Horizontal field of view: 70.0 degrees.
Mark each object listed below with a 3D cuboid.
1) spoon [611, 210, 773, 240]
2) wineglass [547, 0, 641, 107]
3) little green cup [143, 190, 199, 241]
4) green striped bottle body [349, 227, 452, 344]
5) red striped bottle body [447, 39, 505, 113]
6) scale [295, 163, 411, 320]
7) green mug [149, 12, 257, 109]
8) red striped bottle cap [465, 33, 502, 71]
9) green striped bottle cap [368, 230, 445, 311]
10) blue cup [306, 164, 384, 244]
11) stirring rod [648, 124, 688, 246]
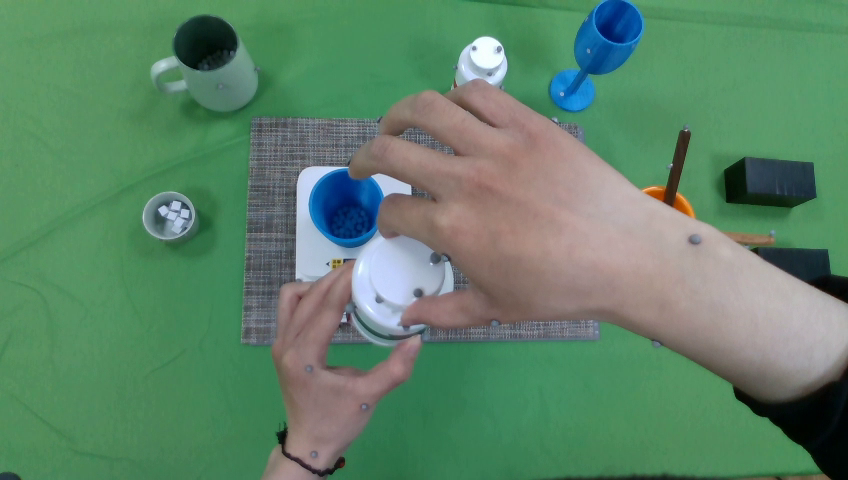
[{"bbox_3d":[0.329,-0.014,0.760,0.022,0.192,0.041,20,81,-45],"label":"spoon"},{"bbox_3d":[0.215,-0.239,0.784,0.074,0.173,0.073,1,77,-4],"label":"wineglass"},{"bbox_3d":[-0.313,-0.028,0.758,0.061,0.039,0.061,2,77,-6],"label":"little green cup"},{"bbox_3d":[-0.018,0.031,0.400,0.063,0.119,0.063,2,74,-7],"label":"green striped bottle body"},{"bbox_3d":[0.068,-0.219,0.794,0.063,0.120,0.062,1,77,-5],"label":"red striped bottle body"},{"bbox_3d":[-0.090,-0.001,0.773,0.149,0.031,0.200,-1,78,-5],"label":"scale"},{"bbox_3d":[-0.282,-0.219,0.768,0.125,0.105,0.092,-22,81,-9],"label":"green mug"},{"bbox_3d":[0.073,-0.230,0.741,0.044,0.018,0.044,1,75,-4],"label":"red striped bottle cap"},{"bbox_3d":[-0.010,0.017,0.347,0.044,0.020,0.044,-1,66,3],"label":"green striped bottle cap"},{"bbox_3d":[-0.090,-0.034,0.713,0.093,0.100,0.092,1,80,-5],"label":"blue cup"},{"bbox_3d":[0.309,-0.065,0.769,0.014,0.177,0.006,6,36,9],"label":"stirring rod"}]
